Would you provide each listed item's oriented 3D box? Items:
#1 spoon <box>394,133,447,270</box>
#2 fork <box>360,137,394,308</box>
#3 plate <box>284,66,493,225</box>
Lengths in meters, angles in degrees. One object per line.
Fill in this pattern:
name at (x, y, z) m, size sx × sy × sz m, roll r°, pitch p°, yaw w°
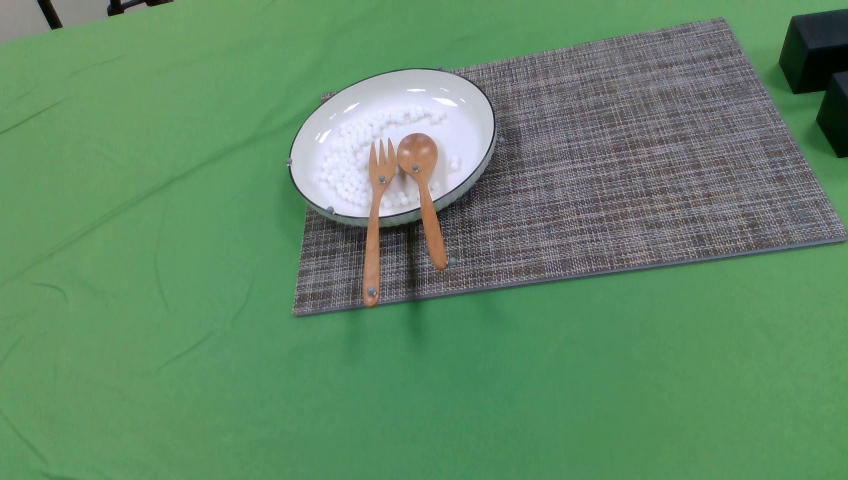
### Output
spoon at (-0.001, -0.041, 0.532) m, size 0.041 × 0.022 × 0.191 m, roll -11°, pitch 37°, yaw 1°
fork at (-0.043, -0.024, 0.532) m, size 0.028 × 0.019 × 0.205 m, roll -6°, pitch 44°, yaw 6°
plate at (-0.033, -0.092, 0.601) m, size 0.207 × 0.039 × 0.205 m, roll -7°, pitch 52°, yaw 9°
